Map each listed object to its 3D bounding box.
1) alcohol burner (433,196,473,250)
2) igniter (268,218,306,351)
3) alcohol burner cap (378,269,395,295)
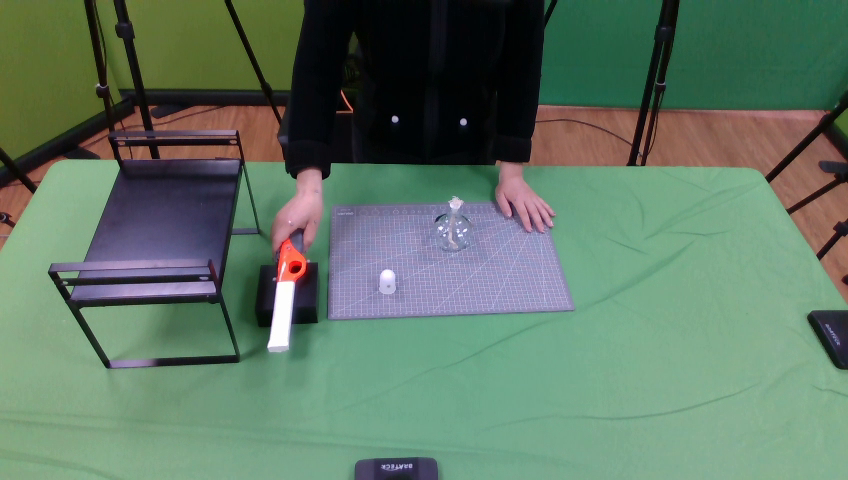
[{"bbox_3d":[0.058,-0.038,1.169,0.078,0.119,0.077,3,45,-3],"label":"alcohol burner"},{"bbox_3d":[-0.236,0.066,1.045,0.057,0.025,0.274,-2,49,-1],"label":"igniter"},{"bbox_3d":[-0.068,0.073,1.103,0.034,0.048,0.033,3,46,-3],"label":"alcohol burner cap"}]
